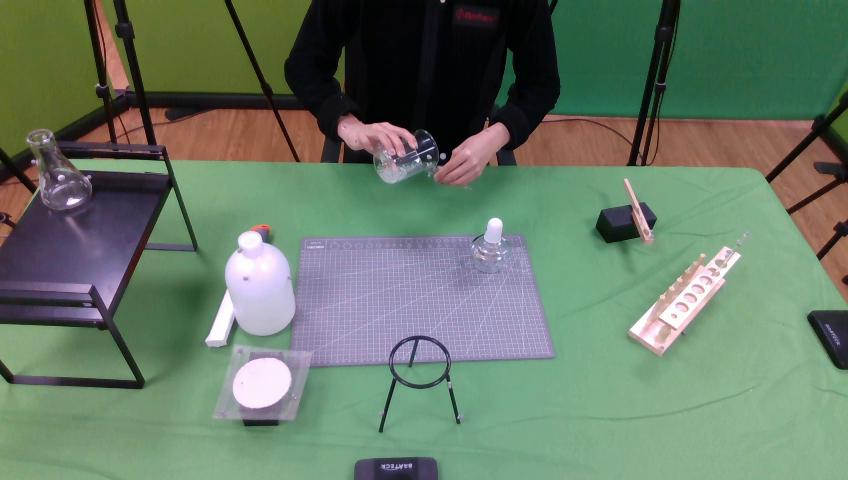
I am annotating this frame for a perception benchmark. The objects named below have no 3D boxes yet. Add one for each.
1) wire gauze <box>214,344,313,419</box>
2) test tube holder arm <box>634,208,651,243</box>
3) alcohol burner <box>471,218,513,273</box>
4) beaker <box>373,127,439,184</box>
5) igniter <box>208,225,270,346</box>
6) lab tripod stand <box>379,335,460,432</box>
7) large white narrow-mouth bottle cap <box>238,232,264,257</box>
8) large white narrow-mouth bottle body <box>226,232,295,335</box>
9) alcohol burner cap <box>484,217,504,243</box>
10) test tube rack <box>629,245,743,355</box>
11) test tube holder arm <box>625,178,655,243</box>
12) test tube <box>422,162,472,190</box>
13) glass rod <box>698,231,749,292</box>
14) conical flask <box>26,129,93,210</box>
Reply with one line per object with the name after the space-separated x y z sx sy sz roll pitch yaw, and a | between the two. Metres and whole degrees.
-0.241 0.213 0.915 0.121 0.011 0.124 5 46 1 | wire gauze
0.428 -0.030 1.189 0.010 0.015 0.087 1 47 -2 | test tube holder arm
0.128 0.005 1.132 0.078 0.120 0.077 0 47 0 | alcohol burner
-0.034 -0.147 1.087 0.100 0.084 0.073 -28 52 -28 | beaker
-0.331 0.072 1.099 0.057 0.025 0.275 -4 45 10 | igniter
-0.011 0.214 0.911 0.148 0.132 0.147 1 45 0 | lab tripod stand
-0.266 0.007 0.933 0.038 0.024 0.037 2 46 -2 | large white narrow-mouth bottle cap
-0.270 0.065 0.995 0.102 0.195 0.101 2 46 -2 | large white narrow-mouth bottle body
0.129 -0.021 1.107 0.034 0.048 0.033 4 41 -3 | alcohol burner cap
0.474 0.095 1.091 0.242 0.085 0.066 -34 56 -31 | test tube rack
0.433 -0.063 1.220 0.013 0.015 0.177 1 47 -3 | test tube holder arm
0.048 -0.125 1.190 0.151 0.017 0.017 18 28 -48 | test tube
0.515 0.044 1.051 0.008 0.200 0.008 1 55 -1 | glass rod
-0.575 -0.113 0.946 0.075 0.122 0.075 2 46 -2 | conical flask
